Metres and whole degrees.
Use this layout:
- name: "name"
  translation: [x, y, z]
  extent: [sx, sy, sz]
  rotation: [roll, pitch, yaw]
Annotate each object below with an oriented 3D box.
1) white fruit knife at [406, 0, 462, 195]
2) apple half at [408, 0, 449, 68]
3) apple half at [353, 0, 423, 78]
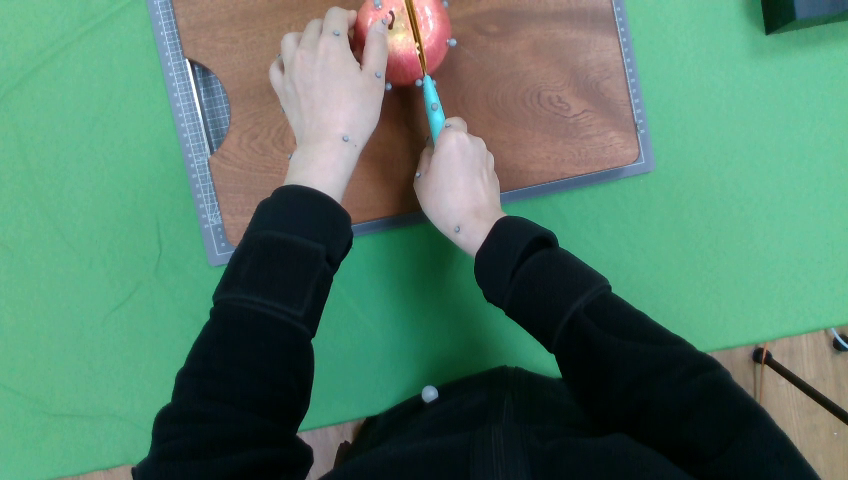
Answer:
- name: "white fruit knife"
  translation: [0.001, -0.140, 0.531]
  extent: [0.016, 0.027, 0.207]
  rotation: [-16, 95, -5]
- name: "apple half"
  translation: [0.005, -0.190, 0.529]
  extent: [0.033, 0.081, 0.081]
  rotation: [-15, 93, -2]
- name: "apple half"
  translation: [-0.034, -0.179, 0.528]
  extent: [0.053, 0.074, 0.081]
  rotation: [-15, 95, 7]
